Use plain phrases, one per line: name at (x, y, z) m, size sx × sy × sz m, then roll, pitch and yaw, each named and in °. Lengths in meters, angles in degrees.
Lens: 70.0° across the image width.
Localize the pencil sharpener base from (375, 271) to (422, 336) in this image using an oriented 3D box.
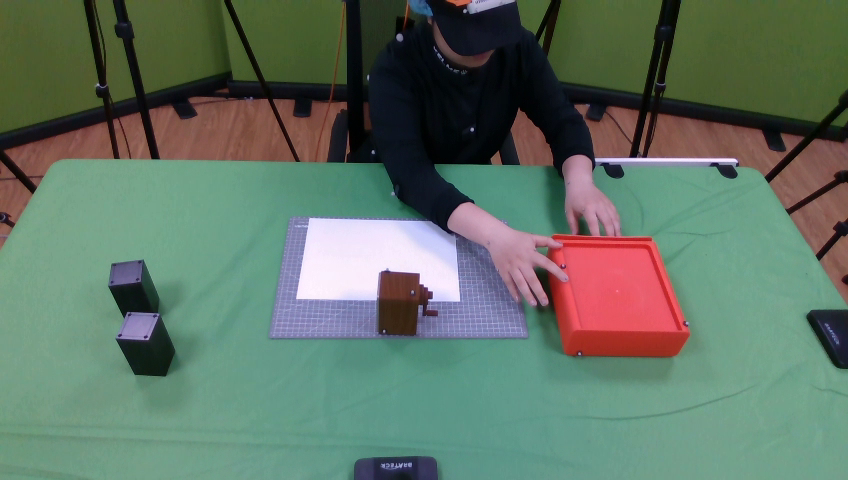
pencil sharpener base at (-0.042, 0.109, 1.025) m, size 0.077 × 0.107 × 0.061 m, roll 3°, pitch 45°, yaw -2°

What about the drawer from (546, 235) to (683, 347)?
drawer at (0.335, 0.088, 1.096) m, size 0.194 × 0.073 × 0.210 m, roll 2°, pitch 46°, yaw -3°

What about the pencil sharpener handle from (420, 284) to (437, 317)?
pencil sharpener handle at (0.009, 0.104, 1.016) m, size 0.030 × 0.068 × 0.036 m, roll 3°, pitch 38°, yaw -2°

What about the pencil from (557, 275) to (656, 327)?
pencil at (0.334, 0.112, 1.113) m, size 0.193 × 0.012 × 0.012 m, roll 27°, pitch 50°, yaw 15°

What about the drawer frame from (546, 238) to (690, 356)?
drawer frame at (0.337, 0.098, 1.084) m, size 0.202 × 0.083 × 0.212 m, roll 1°, pitch 46°, yaw -4°
